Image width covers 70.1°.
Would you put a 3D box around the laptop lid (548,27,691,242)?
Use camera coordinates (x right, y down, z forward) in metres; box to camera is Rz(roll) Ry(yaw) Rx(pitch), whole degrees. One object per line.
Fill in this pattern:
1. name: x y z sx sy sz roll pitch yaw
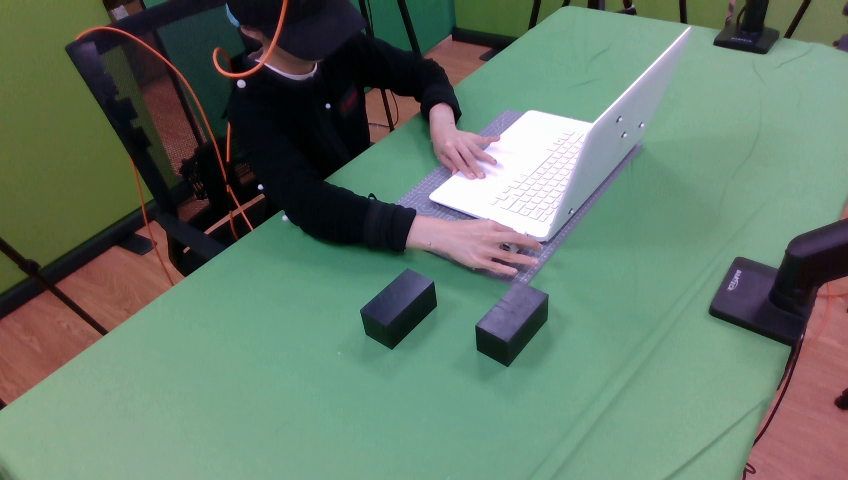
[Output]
1. laptop lid: 0.310 -0.167 0.949 0.013 0.242 0.358 33 52 20

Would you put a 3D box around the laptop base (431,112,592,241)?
1. laptop base: 0.207 -0.129 1.099 0.233 0.023 0.355 20 47 34

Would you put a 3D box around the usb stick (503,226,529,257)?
1. usb stick: 0.147 -0.002 0.940 0.021 0.027 0.059 27 50 31
